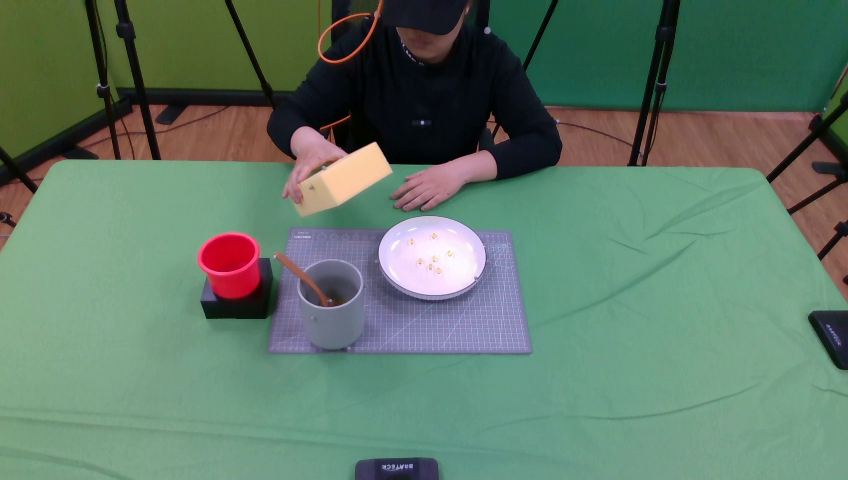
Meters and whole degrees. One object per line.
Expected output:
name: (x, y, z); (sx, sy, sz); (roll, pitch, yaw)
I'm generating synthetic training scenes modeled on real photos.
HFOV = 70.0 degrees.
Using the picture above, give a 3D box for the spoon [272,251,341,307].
spoon: (-0.180, 0.077, 0.982); (0.021, 0.195, 0.041); (-9, 46, 28)

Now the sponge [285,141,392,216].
sponge: (-0.158, -0.105, 1.084); (0.118, 0.061, 0.206); (-36, 14, -26)

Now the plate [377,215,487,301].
plate: (0.015, 0.037, 1.147); (0.208, 0.039, 0.206); (2, 46, -2)

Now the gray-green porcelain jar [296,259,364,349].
gray-green porcelain jar: (-0.152, 0.111, 1.003); (0.106, 0.127, 0.105); (2, 46, -2)
